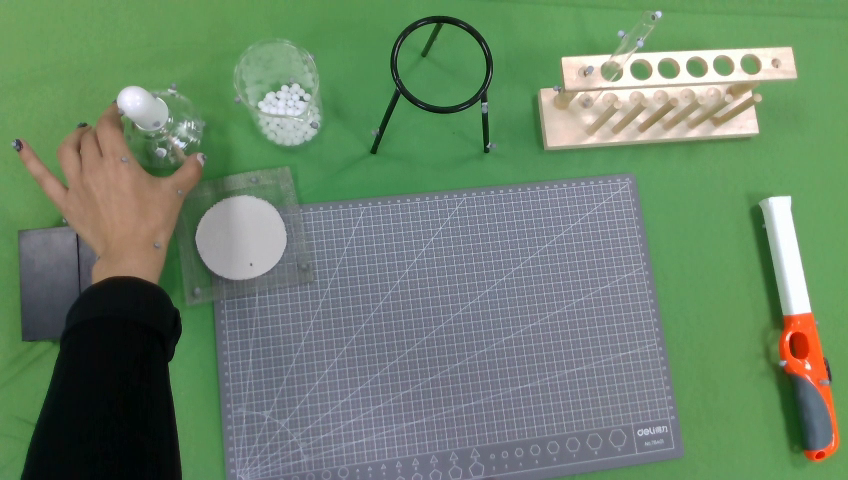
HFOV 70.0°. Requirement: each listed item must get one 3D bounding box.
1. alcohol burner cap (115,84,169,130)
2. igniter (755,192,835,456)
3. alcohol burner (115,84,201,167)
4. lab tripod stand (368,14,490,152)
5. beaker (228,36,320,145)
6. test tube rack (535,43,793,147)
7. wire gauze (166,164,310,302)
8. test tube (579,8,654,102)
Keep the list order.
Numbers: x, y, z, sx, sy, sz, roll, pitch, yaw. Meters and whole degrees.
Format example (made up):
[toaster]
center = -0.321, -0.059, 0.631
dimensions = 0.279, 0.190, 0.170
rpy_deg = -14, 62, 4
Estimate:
[alcohol burner cap]
center = -0.247, -0.117, 0.526
dimensions = 0.034, 0.048, 0.034
rpy_deg = 0, 86, 0
[igniter]
center = 0.394, 0.085, 0.644
dimensions = 0.057, 0.025, 0.275
rpy_deg = -4, 81, -17
[alcohol burner]
center = -0.251, -0.111, 0.562
dimensions = 0.078, 0.119, 0.077
rpy_deg = 1, 79, -5
[lab tripod stand]
center = 0.006, -0.147, 0.585
dimensions = 0.148, 0.132, 0.148
rpy_deg = 1, 80, -4
[beaker]
center = -0.137, -0.136, 0.586
dimensions = 0.074, 0.100, 0.084
rpy_deg = -37, 87, -10
[test tube rack]
center = 0.248, -0.150, 0.636
dimensions = 0.243, 0.085, 0.066
rpy_deg = -5, 81, -6
[wire gauze]
center = -0.186, -0.008, 0.603
dimensions = 0.125, 0.011, 0.121
rpy_deg = -12, 82, -7
[test tube]
center = 0.180, -0.172, 0.581
dimensions = 0.017, 0.150, 0.017
rpy_deg = 1, 76, -5
